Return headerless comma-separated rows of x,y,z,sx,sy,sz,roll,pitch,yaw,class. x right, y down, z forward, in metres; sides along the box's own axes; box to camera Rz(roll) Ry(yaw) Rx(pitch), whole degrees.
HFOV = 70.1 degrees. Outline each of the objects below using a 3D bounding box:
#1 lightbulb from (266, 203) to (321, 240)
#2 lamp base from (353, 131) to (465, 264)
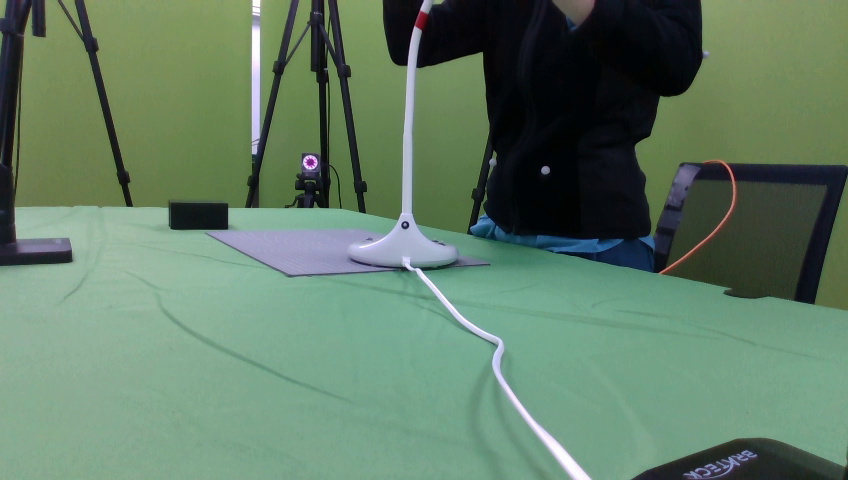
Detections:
-0.224,-0.026,1.032,0.059,0.059,0.108,8,24,37,lightbulb
-0.015,-0.062,0.851,0.161,0.180,0.178,-1,11,-20,lamp base
